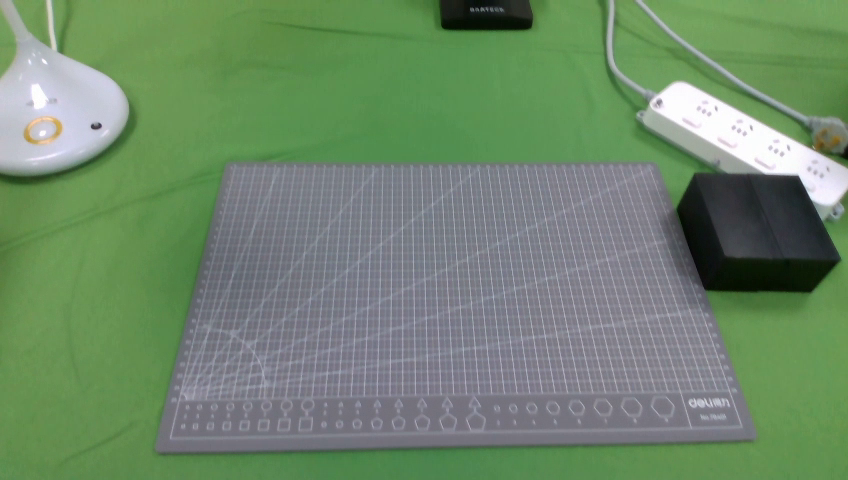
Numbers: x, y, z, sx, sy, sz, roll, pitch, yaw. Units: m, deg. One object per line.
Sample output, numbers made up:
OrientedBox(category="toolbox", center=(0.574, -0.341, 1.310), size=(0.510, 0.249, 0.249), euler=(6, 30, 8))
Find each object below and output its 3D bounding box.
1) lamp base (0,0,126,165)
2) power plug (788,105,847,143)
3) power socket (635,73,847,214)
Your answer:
OrientedBox(category="lamp base", center=(-0.404, -0.194, 0.585), size=(0.161, 0.182, 0.177), euler=(-21, 53, -17))
OrientedBox(category="power plug", center=(0.429, -0.126, 0.668), size=(0.053, 0.035, 0.072), euler=(-27, 24, -27))
OrientedBox(category="power socket", center=(0.335, -0.107, 0.640), size=(0.072, 0.033, 0.225), euler=(-37, 61, -27))
